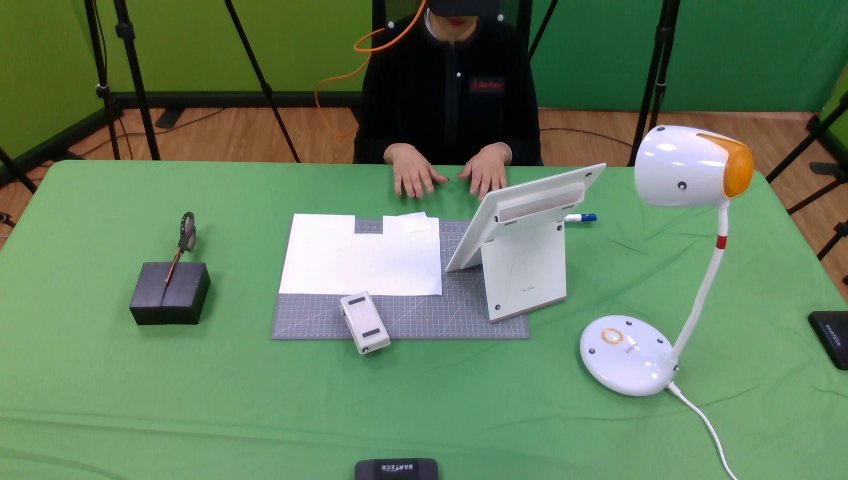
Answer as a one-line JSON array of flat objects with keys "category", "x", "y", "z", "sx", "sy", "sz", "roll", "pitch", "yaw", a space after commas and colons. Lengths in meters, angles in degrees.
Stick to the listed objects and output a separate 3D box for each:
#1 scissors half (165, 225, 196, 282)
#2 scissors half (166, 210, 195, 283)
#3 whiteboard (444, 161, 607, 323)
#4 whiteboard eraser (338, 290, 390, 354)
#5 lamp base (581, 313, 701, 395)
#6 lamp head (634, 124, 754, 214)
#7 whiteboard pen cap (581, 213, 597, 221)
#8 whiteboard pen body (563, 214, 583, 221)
[{"category": "scissors half", "x": -0.444, "y": 0.025, "z": 1.107, "sx": 0.013, "sy": 0.040, "sz": 0.174, "roll": 3, "pitch": 30, "yaw": -5}, {"category": "scissors half", "x": -0.440, "y": 0.010, "z": 1.094, "sx": 0.013, "sy": 0.040, "sz": 0.174, "roll": 7, "pitch": 48, "yaw": -9}, {"category": "whiteboard", "x": 0.186, "y": 0.025, "z": 1.029, "sx": 0.217, "sy": 0.306, "sz": 0.143, "roll": -14, "pitch": 68, "yaw": -18}, {"category": "whiteboard eraser", "x": -0.103, "y": 0.141, "z": 1.035, "sx": 0.056, "sy": 0.042, "sz": 0.112, "roll": -15, "pitch": 49, "yaw": -19}, {"category": "lamp base", "x": 0.361, "y": 0.144, "z": 0.973, "sx": 0.178, "sy": 0.181, "sz": 0.160, "roll": 34, "pitch": 53, "yaw": 23}, {"category": "lamp head", "x": 0.351, "y": -0.089, "z": 0.775, "sx": 0.112, "sy": 0.113, "sz": 0.122, "roll": -30, "pitch": 30, "yaw": -28}, {"category": "whiteboard pen cap", "x": 0.342, "y": -0.048, "z": 1.260, "sx": 0.033, "sy": 0.018, "sz": 0.018, "roll": -2, "pitch": 46, "yaw": -3}, {"category": "whiteboard pen body", "x": 0.283, "y": -0.047, "z": 1.257, "sx": 0.141, "sy": 0.017, "sz": 0.017, "roll": -1, "pitch": 46, "yaw": -2}]
